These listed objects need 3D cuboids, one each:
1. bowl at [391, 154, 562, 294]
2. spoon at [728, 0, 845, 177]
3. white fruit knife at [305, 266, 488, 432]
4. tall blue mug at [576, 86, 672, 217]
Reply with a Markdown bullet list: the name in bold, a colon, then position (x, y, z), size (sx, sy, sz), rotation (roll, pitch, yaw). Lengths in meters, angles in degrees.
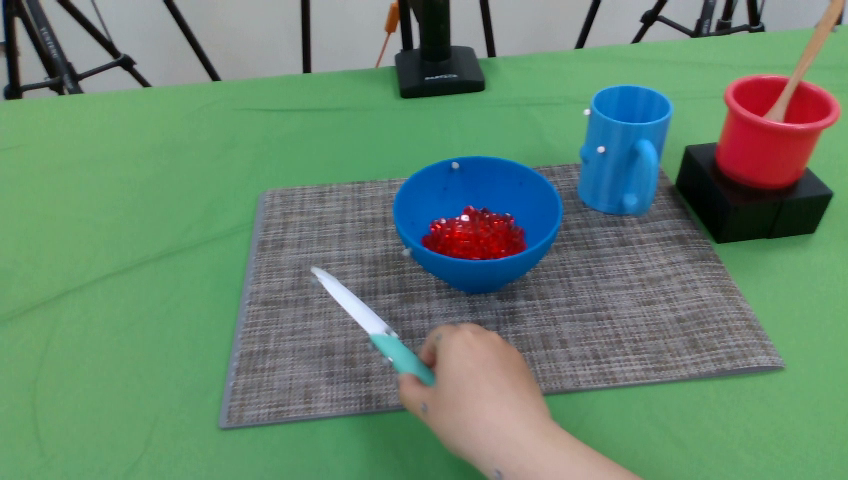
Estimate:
- **bowl**: position (0.047, -0.004, 0.559), size (0.151, 0.077, 0.150), rotation (-2, 43, 2)
- **spoon**: position (0.352, -0.146, 0.578), size (0.041, 0.022, 0.194), rotation (31, 97, 33)
- **white fruit knife**: position (-0.033, 0.077, 0.471), size (0.027, 0.016, 0.205), rotation (-10, 38, -47)
- **tall blue mug**: position (0.210, -0.082, 0.611), size (0.078, 0.109, 0.106), rotation (-24, 46, -22)
